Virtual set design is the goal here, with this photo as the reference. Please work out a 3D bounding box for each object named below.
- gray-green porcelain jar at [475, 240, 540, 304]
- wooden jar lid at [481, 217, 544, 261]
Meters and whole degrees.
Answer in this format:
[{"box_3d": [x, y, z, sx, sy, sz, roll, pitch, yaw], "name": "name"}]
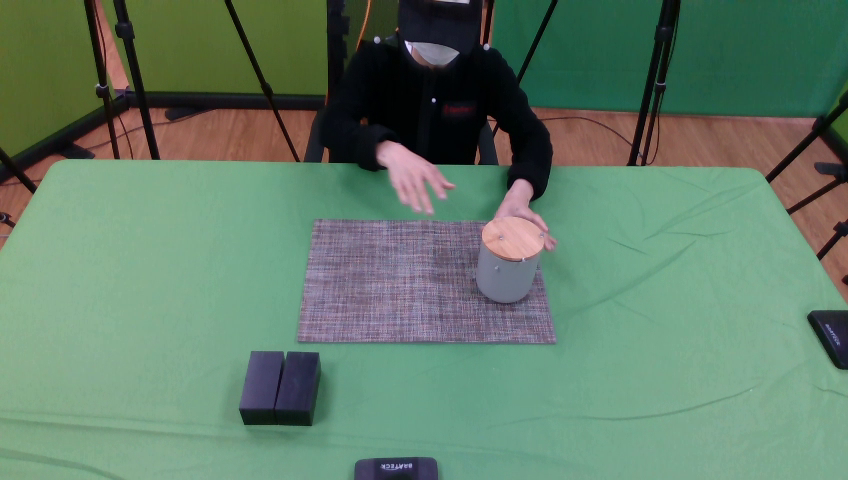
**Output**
[{"box_3d": [0.148, 0.044, 1.090, 0.106, 0.127, 0.105, 2, 46, -2], "name": "gray-green porcelain jar"}, {"box_3d": [0.152, 0.001, 1.044, 0.108, 0.021, 0.107, 2, 43, -2], "name": "wooden jar lid"}]
